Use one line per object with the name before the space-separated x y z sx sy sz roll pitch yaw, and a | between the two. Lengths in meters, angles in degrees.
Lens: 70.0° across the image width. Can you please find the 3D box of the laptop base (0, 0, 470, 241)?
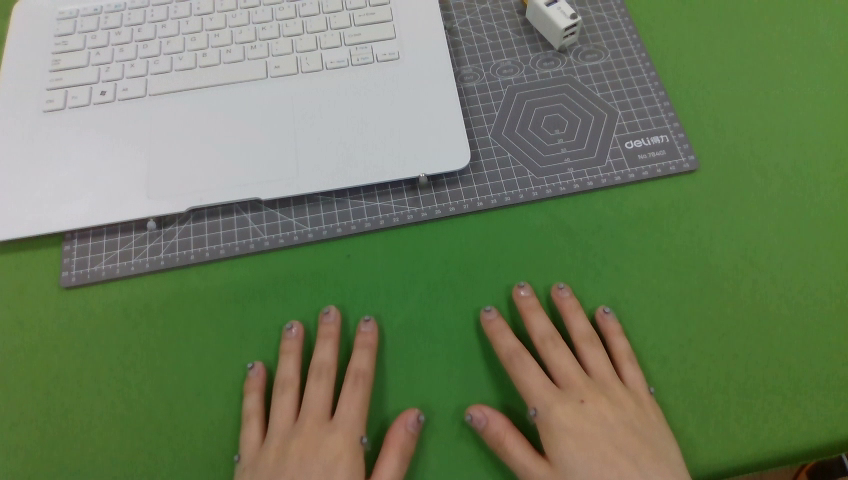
laptop base | -0.157 -0.125 0.474 0.354 0.023 0.233 -9 67 -2

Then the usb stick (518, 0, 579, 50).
usb stick | 0.097 -0.182 0.485 0.021 0.027 0.058 -30 64 -11

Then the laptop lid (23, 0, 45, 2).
laptop lid | -0.186 -0.321 0.451 0.357 0.244 0.013 -10 39 -1
